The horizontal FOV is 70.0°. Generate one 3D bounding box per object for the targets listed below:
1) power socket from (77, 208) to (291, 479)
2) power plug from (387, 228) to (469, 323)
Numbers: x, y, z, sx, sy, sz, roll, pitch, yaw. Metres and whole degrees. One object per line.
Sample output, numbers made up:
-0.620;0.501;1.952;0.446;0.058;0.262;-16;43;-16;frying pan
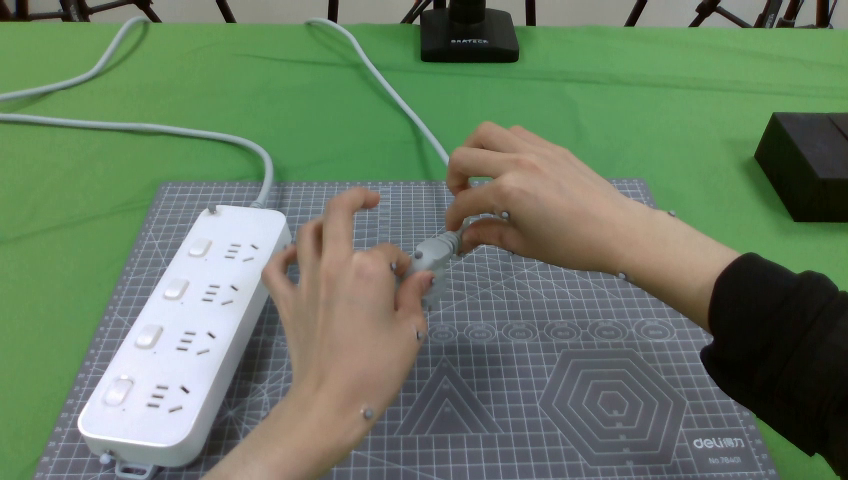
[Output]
-0.157;0.056;0.427;0.072;0.033;0.225;7;44;5;power socket
0.008;0.027;0.411;0.073;0.053;0.035;-16;44;-36;power plug
